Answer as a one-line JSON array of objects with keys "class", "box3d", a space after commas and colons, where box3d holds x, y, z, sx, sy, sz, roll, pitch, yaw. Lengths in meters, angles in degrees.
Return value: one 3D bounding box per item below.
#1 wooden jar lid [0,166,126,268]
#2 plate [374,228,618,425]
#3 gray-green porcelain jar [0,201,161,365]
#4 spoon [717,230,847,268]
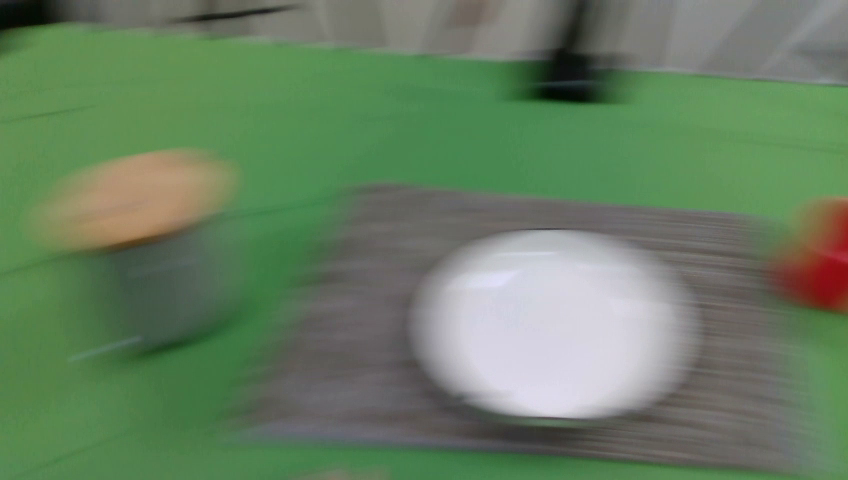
[{"class": "wooden jar lid", "box3d": [-0.277, -0.015, 0.446, 0.108, 0.021, 0.107, 5, 42, -4]}, {"class": "plate", "box3d": [0.061, 0.072, 0.530, 0.208, 0.039, 0.205, 2, 44, -2]}, {"class": "gray-green porcelain jar", "box3d": [-0.279, 0.031, 0.491, 0.106, 0.127, 0.105, 2, 44, -2]}, {"class": "spoon", "box3d": [0.365, 0.003, 0.551, 0.041, 0.022, 0.193, -42, 15, -36]}]
